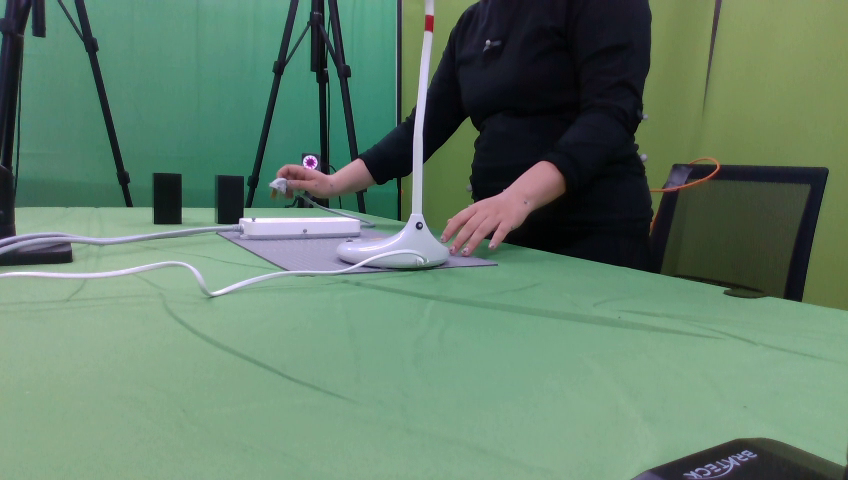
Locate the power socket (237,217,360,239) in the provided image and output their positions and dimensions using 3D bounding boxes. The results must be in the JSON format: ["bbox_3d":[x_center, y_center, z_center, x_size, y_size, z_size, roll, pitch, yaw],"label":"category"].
[{"bbox_3d":[-0.221,-0.023,1.080,0.228,0.032,0.072,-2,8,-32],"label":"power socket"}]

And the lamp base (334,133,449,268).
[{"bbox_3d":[-0.034,-0.057,0.831,0.161,0.180,0.178,-3,11,-36],"label":"lamp base"}]

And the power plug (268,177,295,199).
[{"bbox_3d":[-0.302,-0.104,1.292,0.035,0.052,0.073,15,-13,39],"label":"power plug"}]
